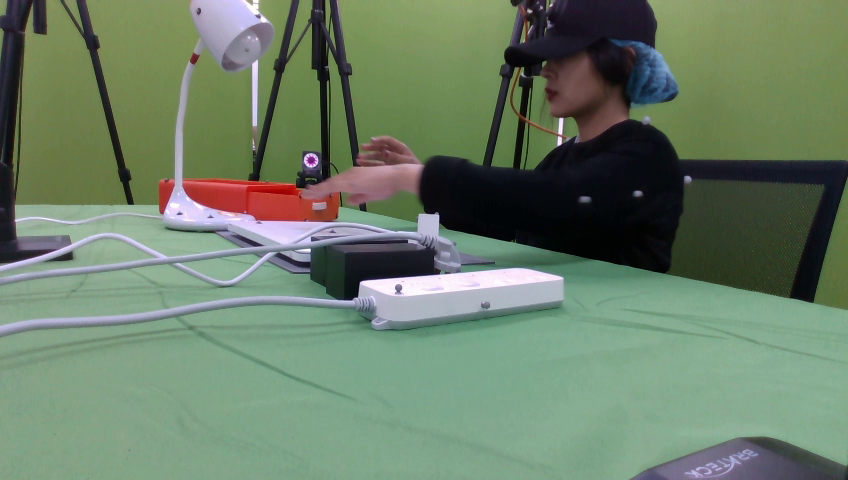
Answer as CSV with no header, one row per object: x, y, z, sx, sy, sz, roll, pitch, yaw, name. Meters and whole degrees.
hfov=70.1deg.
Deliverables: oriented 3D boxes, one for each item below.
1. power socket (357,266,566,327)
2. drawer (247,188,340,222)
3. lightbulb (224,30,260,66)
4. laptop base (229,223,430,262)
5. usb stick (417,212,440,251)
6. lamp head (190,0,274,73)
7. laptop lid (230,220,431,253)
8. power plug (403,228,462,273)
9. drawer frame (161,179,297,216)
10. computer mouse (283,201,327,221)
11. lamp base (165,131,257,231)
0.042,0.049,0.573,0.228,0.032,0.072,-3,8,-34,power socket
-0.314,-0.079,1.301,0.211,0.073,0.195,4,8,15,drawer
-0.318,-0.335,1.000,0.107,0.059,0.059,48,15,5,lightbulb
-0.145,0.002,0.943,0.237,0.023,0.352,2,6,-32,laptop base
0.005,-0.004,0.721,0.027,0.059,0.021,0,-3,-3,usb stick
-0.331,-0.355,1.007,0.123,0.112,0.112,43,15,6,lamp head
-0.142,-0.009,0.942,0.243,0.013,0.355,1,7,-31,laptop lid
0.006,0.016,0.647,0.073,0.052,0.035,17,12,-6,power plug
-0.421,-0.089,1.329,0.213,0.082,0.202,4,8,16,drawer frame
-0.254,-0.062,1.293,0.063,0.041,0.117,1,2,10,computer mouse
-0.407,-0.112,1.119,0.179,0.180,0.161,-1,7,7,lamp base
